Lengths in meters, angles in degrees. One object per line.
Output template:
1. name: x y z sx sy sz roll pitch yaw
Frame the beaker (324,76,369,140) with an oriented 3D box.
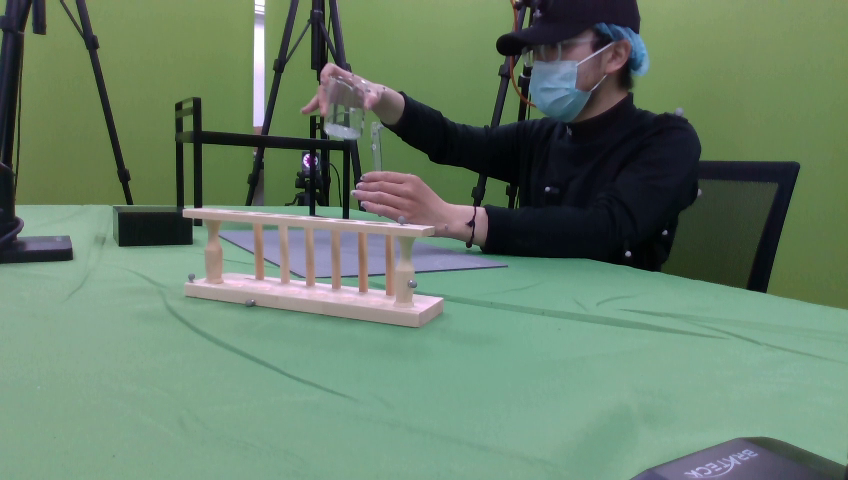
1. beaker: -0.139 -0.233 1.074 0.074 0.100 0.083 3 22 -18

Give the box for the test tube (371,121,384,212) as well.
1. test tube: -0.076 -0.119 0.977 0.017 0.150 0.017 -3 -8 0

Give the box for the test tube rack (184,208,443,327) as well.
1. test tube rack: -0.106 0.019 0.570 0.241 0.085 0.067 5 8 20
